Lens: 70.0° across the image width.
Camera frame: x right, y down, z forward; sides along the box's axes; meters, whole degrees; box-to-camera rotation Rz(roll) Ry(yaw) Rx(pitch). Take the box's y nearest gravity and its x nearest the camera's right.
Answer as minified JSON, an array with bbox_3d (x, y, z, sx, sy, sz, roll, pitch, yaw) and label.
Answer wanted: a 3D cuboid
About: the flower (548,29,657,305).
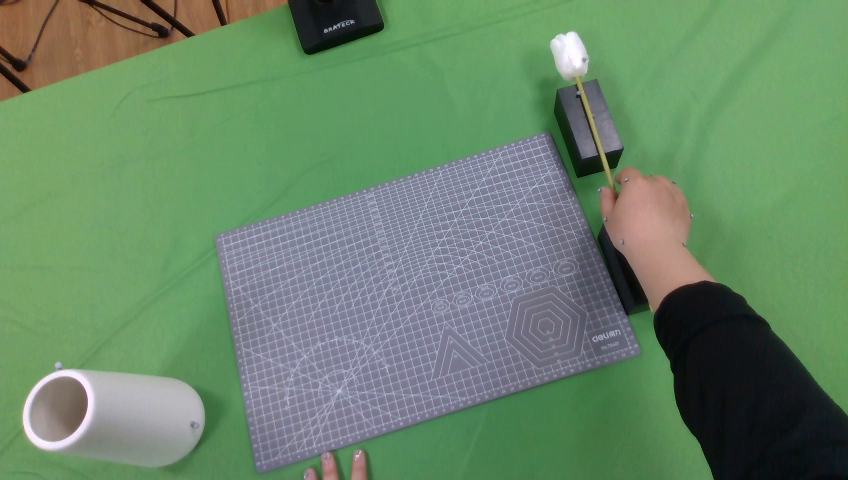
[{"bbox_3d":[0.206,-0.096,0.696,0.044,0.038,0.358,0,65,-26],"label":"flower"}]

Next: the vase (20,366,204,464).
[{"bbox_3d":[-0.305,0.176,0.616,0.098,0.201,0.097,-2,70,5],"label":"vase"}]
